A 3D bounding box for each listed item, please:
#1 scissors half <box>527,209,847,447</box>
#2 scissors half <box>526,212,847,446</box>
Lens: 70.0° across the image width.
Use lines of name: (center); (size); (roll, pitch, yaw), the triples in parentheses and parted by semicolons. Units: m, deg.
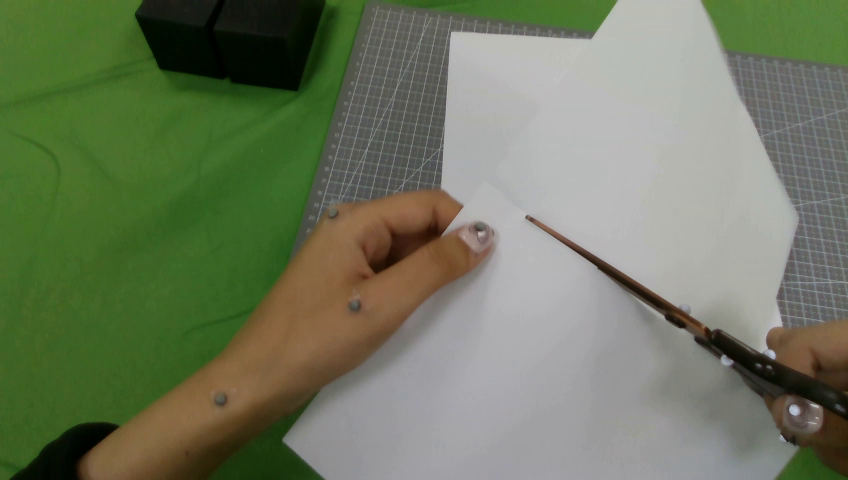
scissors half: (0.116, 0.037, 0.260); (0.175, 0.040, 0.013); (35, 92, 0)
scissors half: (0.114, 0.036, 0.240); (0.174, 0.040, 0.013); (35, 86, 17)
